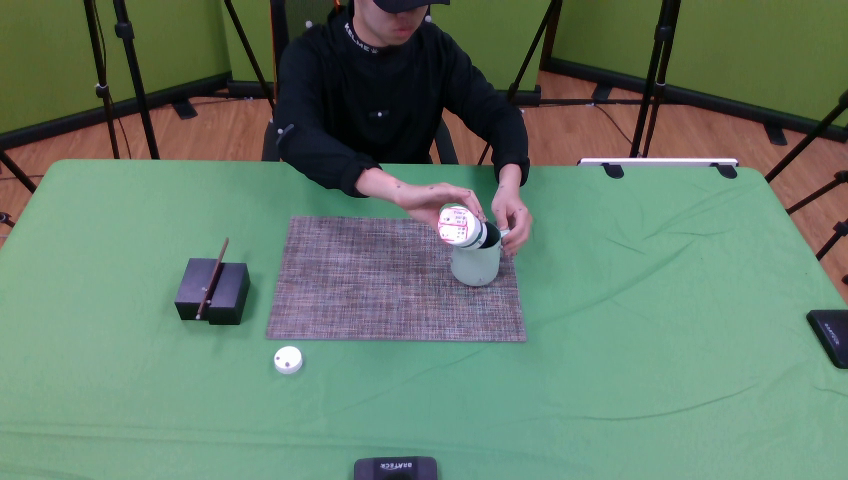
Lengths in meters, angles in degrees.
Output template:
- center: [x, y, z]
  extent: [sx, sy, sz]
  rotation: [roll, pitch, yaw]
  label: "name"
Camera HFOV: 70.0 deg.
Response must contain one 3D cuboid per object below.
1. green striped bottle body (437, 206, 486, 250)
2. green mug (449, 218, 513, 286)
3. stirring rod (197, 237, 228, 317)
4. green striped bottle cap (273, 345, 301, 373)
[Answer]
- center: [0.067, -0.018, 1.018]
  extent: [0.063, 0.119, 0.063]
  rotation: [-2, 83, 17]
  label: "green striped bottle body"
- center: [0.110, 0.018, 1.126]
  extent: [0.125, 0.105, 0.092]
  rotation: [-19, 50, -21]
  label: "green mug"
- center: [-0.363, 0.060, 1.047]
  extent: [0.006, 0.014, 0.175]
  rotation: [7, 46, -3]
  label: "stirring rod"
- center: [-0.225, 0.195, 0.997]
  extent: [0.044, 0.020, 0.044]
  rotation: [2, 50, -2]
  label: "green striped bottle cap"
